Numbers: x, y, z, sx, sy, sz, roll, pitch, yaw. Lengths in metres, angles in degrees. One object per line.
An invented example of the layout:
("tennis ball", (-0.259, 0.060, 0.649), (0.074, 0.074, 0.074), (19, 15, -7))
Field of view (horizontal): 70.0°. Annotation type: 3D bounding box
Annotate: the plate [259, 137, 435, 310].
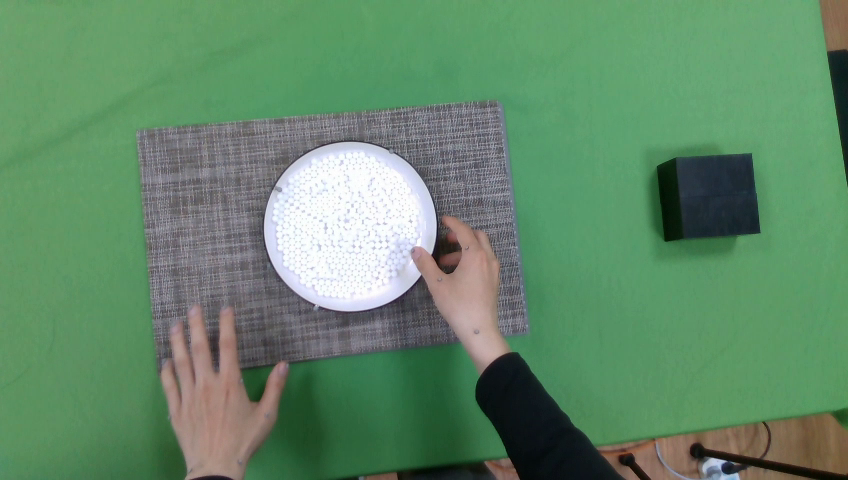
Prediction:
("plate", (-0.091, -0.019, 0.734), (0.209, 0.038, 0.208), (0, 86, -5))
